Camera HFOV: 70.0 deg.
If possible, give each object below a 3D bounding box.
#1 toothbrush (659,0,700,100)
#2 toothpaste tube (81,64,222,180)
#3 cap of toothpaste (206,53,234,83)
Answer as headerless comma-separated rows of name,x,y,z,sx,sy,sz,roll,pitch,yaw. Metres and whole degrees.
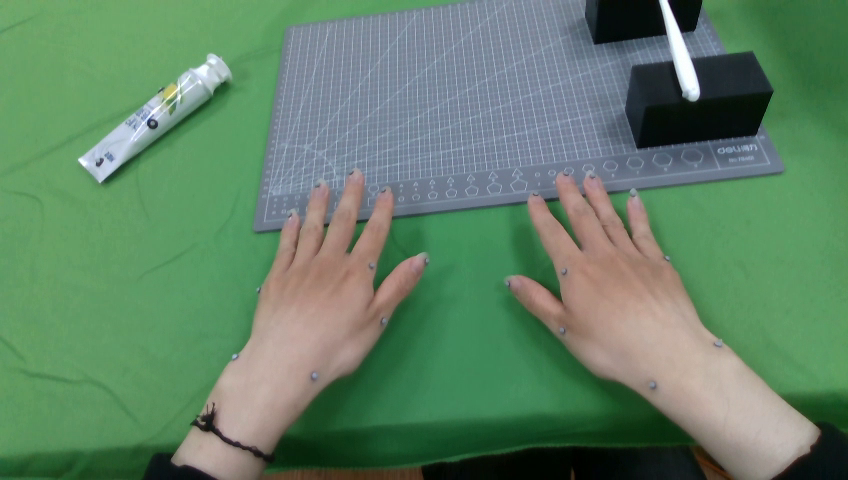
toothbrush,0.216,-0.187,0.525,0.014,0.017,0.180,3,56,-1
toothpaste tube,-0.276,-0.127,0.625,0.054,0.035,0.165,32,69,37
cap of toothpaste,-0.220,-0.182,0.647,0.037,0.038,0.011,24,60,25
